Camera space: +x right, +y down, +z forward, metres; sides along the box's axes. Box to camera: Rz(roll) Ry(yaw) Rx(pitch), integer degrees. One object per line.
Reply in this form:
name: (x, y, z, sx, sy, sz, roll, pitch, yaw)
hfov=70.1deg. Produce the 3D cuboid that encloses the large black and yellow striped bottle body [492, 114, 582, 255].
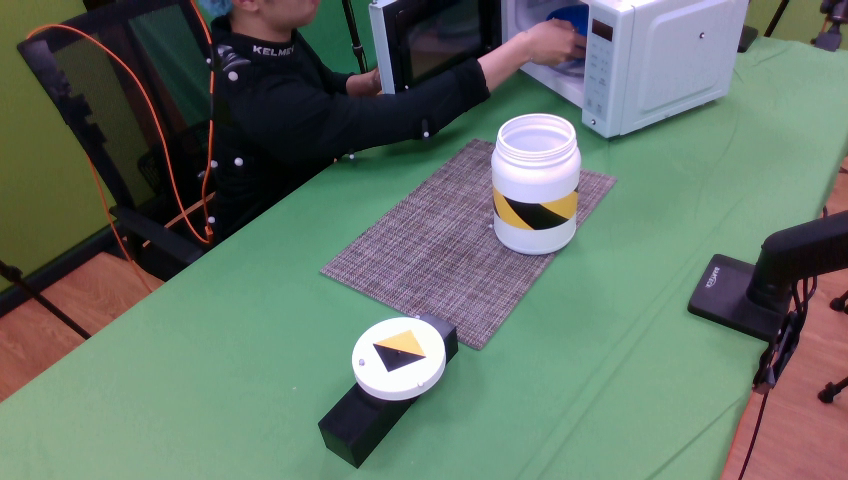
large black and yellow striped bottle body: (0.169, -0.083, 0.912, 0.131, 0.185, 0.130, -4, 41, 4)

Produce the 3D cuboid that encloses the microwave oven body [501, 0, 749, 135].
microwave oven body: (0.382, -0.444, 1.246, 0.327, 0.261, 0.437, -22, 42, -16)

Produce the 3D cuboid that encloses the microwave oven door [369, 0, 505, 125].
microwave oven door: (0.042, -0.425, 1.263, 0.039, 0.245, 0.357, 29, 52, 34)

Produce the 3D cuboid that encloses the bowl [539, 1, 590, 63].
bowl: (0.324, -0.428, 1.273, 0.151, 0.077, 0.150, -13, 43, 13)

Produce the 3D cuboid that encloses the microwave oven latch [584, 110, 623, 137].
microwave oven latch: (0.337, -0.222, 1.142, 0.030, 0.029, 0.078, -21, 42, -14)

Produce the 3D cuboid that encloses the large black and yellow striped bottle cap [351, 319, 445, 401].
large black and yellow striped bottle cap: (-0.031, 0.143, 0.734, 0.115, 0.019, 0.114, -3, 40, 3)
